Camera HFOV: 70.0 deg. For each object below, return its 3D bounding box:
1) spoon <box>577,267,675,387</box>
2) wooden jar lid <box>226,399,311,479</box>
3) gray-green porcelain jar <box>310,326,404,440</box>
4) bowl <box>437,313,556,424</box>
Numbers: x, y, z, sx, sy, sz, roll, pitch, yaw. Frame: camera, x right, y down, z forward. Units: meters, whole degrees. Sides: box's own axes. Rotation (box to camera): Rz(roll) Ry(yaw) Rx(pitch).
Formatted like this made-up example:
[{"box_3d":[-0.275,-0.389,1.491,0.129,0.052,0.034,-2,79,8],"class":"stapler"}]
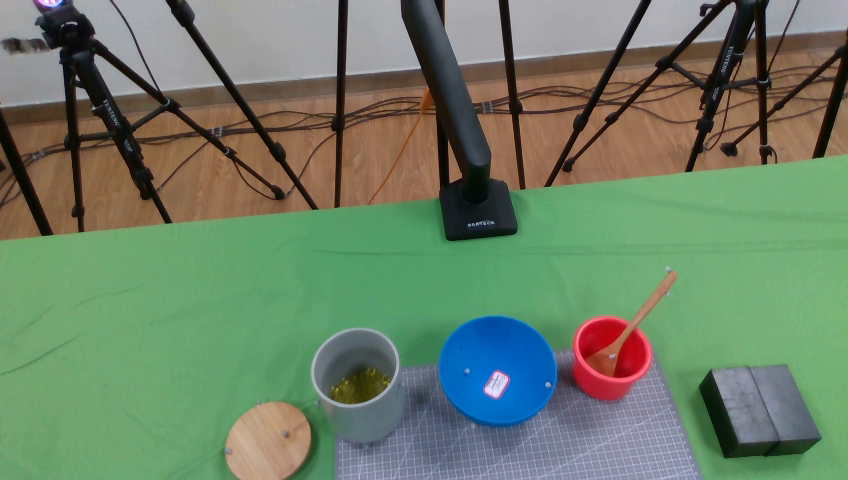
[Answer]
[{"box_3d":[0.267,0.115,0.794,0.041,0.022,0.194,42,108,30],"class":"spoon"},{"box_3d":[-0.199,0.259,0.782,0.108,0.021,0.107,-1,51,2],"class":"wooden jar lid"},{"box_3d":[-0.080,0.185,0.764,0.106,0.127,0.105,-1,51,2],"class":"gray-green porcelain jar"},{"box_3d":[0.093,0.179,0.793,0.151,0.077,0.150,-1,51,2],"class":"bowl"}]
